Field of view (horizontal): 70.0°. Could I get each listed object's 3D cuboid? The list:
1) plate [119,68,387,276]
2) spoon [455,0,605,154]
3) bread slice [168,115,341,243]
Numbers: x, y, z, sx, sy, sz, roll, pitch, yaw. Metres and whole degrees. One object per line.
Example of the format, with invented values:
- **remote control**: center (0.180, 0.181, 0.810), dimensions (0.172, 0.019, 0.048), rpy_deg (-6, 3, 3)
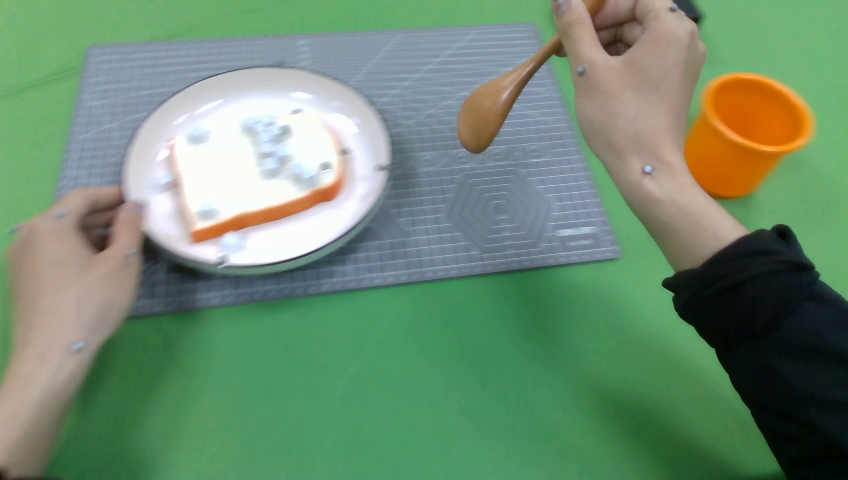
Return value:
- **plate**: center (-0.134, -0.057, 0.496), dimensions (0.209, 0.038, 0.207), rpy_deg (2, 57, -3)
- **spoon**: center (0.080, -0.127, 0.390), dimensions (0.022, 0.194, 0.041), rpy_deg (5, 50, -47)
- **bread slice**: center (-0.137, -0.060, 0.500), dimensions (0.132, 0.019, 0.104), rpy_deg (-19, 61, -16)
